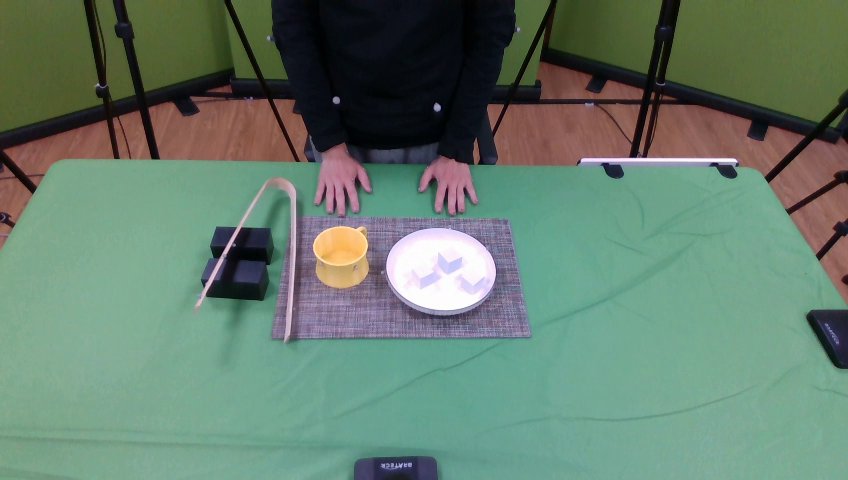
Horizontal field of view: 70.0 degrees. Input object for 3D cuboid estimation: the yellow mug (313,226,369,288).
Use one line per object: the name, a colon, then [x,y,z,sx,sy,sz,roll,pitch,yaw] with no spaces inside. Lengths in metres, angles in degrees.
yellow mug: [-0.146,0.021,1.132,0.099,0.064,0.130,24,49,19]

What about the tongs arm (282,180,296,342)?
tongs arm: [-0.256,0.026,1.142,0.028,0.028,0.385,12,43,-23]

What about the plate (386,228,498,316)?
plate: [0.032,0.062,1.126,0.208,0.039,0.206,2,46,-2]

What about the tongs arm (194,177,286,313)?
tongs arm: [-0.328,-0.004,1.114,0.051,0.026,0.382,24,38,-15]
